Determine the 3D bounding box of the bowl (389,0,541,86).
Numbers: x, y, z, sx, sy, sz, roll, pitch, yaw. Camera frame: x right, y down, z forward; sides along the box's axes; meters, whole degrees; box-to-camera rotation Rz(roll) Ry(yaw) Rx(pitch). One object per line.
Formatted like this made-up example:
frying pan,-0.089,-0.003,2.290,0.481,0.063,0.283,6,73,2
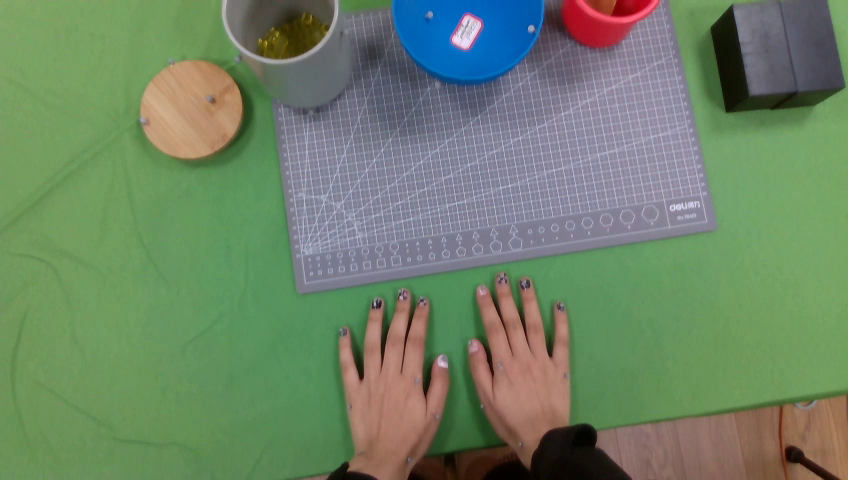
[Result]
bowl,0.040,-0.222,0.632,0.151,0.077,0.151,0,82,0

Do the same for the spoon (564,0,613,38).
spoon,0.213,-0.285,0.608,0.041,0.021,0.194,46,128,6

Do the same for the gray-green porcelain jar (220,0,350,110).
gray-green porcelain jar,-0.130,-0.196,0.603,0.106,0.127,0.105,0,82,0

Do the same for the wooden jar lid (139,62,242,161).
wooden jar lid,-0.249,-0.136,0.652,0.108,0.021,0.108,0,83,0
